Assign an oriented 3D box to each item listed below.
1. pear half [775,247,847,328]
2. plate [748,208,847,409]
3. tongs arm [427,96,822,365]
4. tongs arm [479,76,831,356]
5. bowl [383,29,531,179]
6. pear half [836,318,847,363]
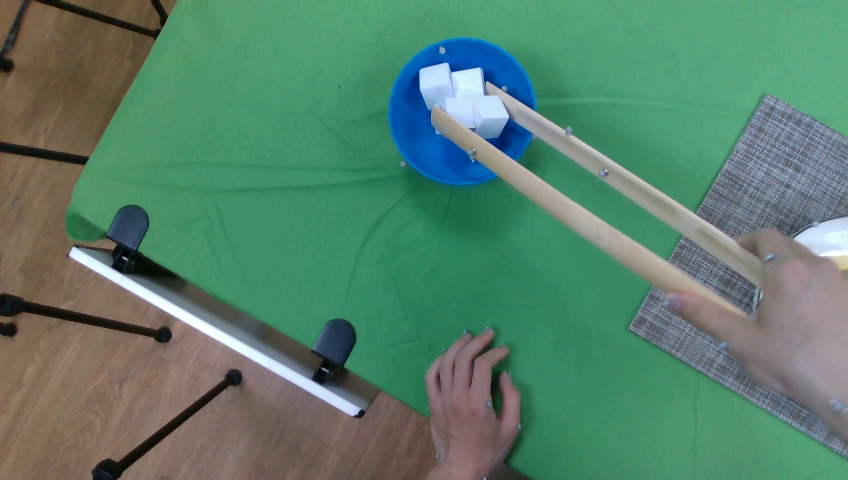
[{"bbox_3d":[0.423,0.039,0.623,0.076,0.056,0.110,40,86,0],"label":"pear half"},{"bbox_3d":[0.442,0.070,0.635,0.207,0.039,0.207,0,88,3],"label":"plate"},{"bbox_3d":[0.127,-0.027,0.498,0.028,0.028,0.383,-27,51,-30],"label":"tongs arm"},{"bbox_3d":[0.160,-0.044,0.515,0.051,0.027,0.381,-28,52,-27],"label":"tongs arm"},{"bbox_3d":[0.035,-0.134,0.643,0.151,0.077,0.151,0,88,3],"label":"bowl"},{"bbox_3d":[0.479,0.101,0.627,0.088,0.031,0.070,-27,90,7],"label":"pear half"}]
